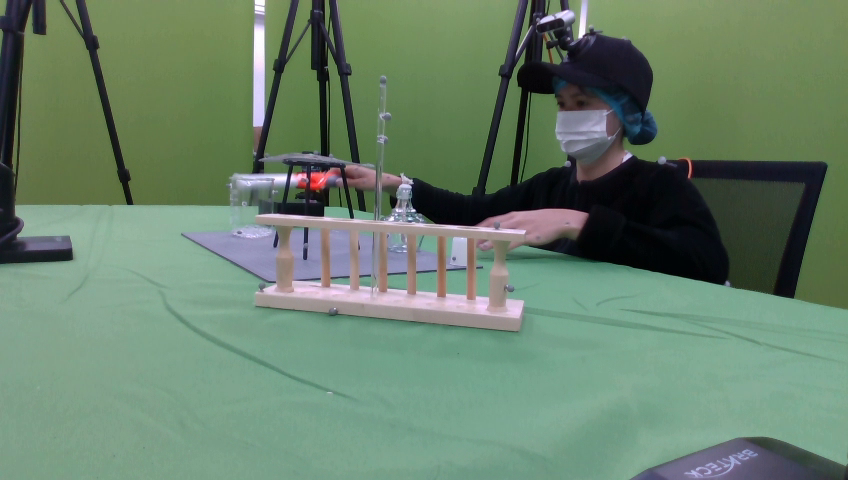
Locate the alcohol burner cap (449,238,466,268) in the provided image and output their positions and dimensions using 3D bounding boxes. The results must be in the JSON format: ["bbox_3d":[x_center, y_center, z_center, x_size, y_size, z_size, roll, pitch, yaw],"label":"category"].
[{"bbox_3d":[0.051,0.014,0.828,0.034,0.048,0.034,2,6,0],"label":"alcohol burner cap"}]

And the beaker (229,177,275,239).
[{"bbox_3d":[-0.292,-0.056,1.023,0.074,0.100,0.083,-1,8,-26],"label":"beaker"}]

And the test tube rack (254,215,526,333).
[{"bbox_3d":[-0.030,0.025,0.558,0.242,0.085,0.067,4,7,12],"label":"test tube rack"}]

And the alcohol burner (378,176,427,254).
[{"bbox_3d":[-0.033,-0.039,0.936,0.078,0.119,0.078,1,6,0],"label":"alcohol burner"}]

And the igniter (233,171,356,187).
[{"bbox_3d":[-0.253,-0.123,1.229,0.278,0.025,0.057,-7,37,-46],"label":"igniter"}]

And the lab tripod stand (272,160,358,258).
[{"bbox_3d":[-0.159,-0.048,0.876,0.148,0.131,0.148,3,5,0],"label":"lab tripod stand"}]

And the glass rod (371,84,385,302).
[{"bbox_3d":[-0.041,-0.041,0.548,0.008,0.199,0.008,2,2,0],"label":"glass rod"}]

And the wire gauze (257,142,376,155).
[{"bbox_3d":[-0.155,-0.130,0.871,0.124,0.011,0.122,-1,7,36],"label":"wire gauze"}]
